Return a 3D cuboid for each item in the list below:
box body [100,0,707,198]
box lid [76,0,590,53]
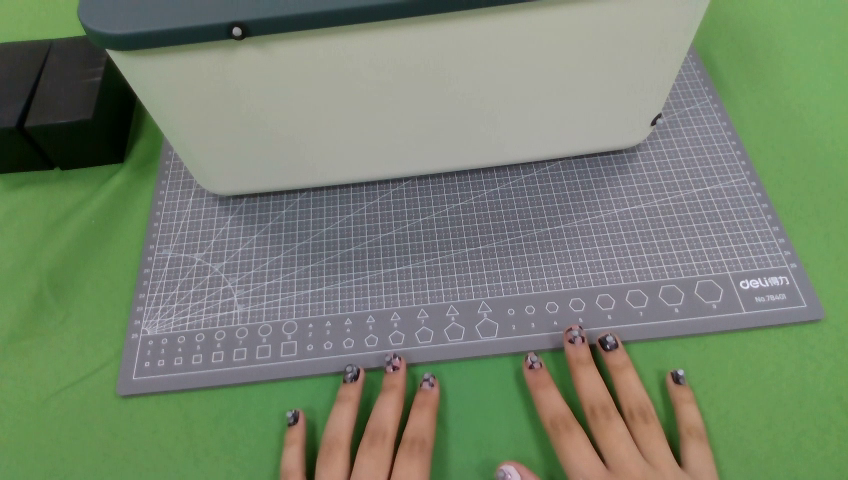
[{"bbox_3d":[-0.014,-0.185,0.456,0.364,0.162,0.251,-7,57,-1],"label":"box body"},{"bbox_3d":[-0.021,-0.226,0.394,0.372,0.015,0.260,-7,56,-1],"label":"box lid"}]
